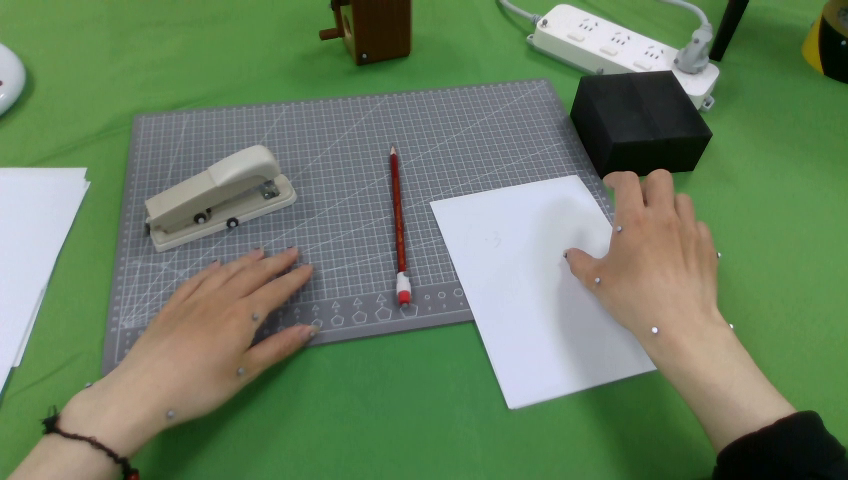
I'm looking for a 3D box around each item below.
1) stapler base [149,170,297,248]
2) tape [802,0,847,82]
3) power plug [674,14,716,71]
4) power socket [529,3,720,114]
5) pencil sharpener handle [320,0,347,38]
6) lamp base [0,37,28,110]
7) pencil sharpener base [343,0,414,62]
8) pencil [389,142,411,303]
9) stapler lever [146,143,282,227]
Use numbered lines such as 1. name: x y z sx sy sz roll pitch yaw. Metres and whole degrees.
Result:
1. stapler base: -0.181 -0.036 0.545 0.131 0.024 0.041 -24 56 -18
2. tape: 0.528 -0.242 0.730 0.117 0.053 0.115 2 53 -2
3. power plug: 0.309 -0.211 0.676 0.072 0.053 0.035 -36 62 -26
4. power socket: 0.232 -0.215 0.704 0.225 0.033 0.072 32 57 20
5. pencil sharpener handle: -0.101 -0.253 0.650 0.031 0.068 0.035 -17 33 -15
6. lamp base: -0.503 -0.217 0.569 0.160 0.182 0.177 -35 59 -26
7. pencil sharpener base: -0.056 -0.264 0.678 0.077 0.108 0.060 -17 55 -15
8. pencil: -0.024 -0.025 0.554 0.012 0.012 0.192 -3 51 -5
9. stapler lever: -0.181 -0.050 0.525 0.118 0.040 0.026 -23 56 -19
